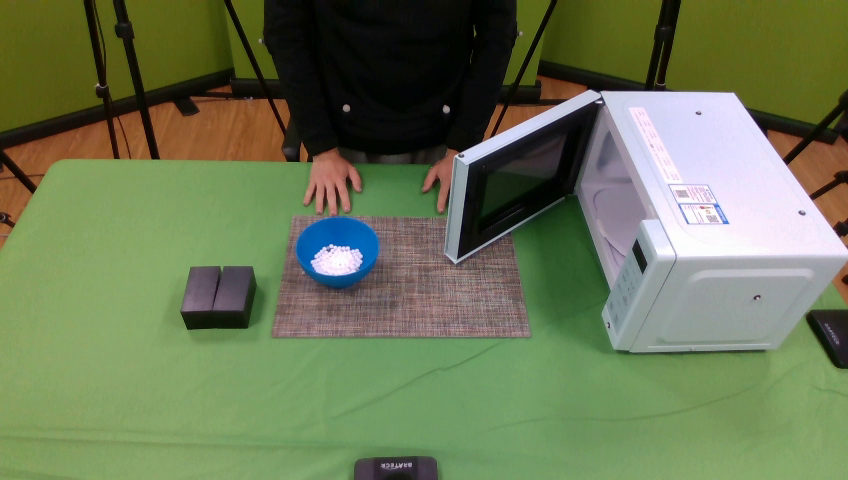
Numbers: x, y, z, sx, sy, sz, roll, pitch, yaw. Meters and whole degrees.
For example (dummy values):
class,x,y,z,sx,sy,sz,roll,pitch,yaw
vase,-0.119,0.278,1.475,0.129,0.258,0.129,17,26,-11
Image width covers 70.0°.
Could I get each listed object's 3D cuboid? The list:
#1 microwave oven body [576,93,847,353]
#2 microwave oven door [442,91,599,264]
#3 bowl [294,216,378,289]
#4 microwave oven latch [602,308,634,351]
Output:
class,x,y,z,sx,sy,sz,roll,pitch,yaw
microwave oven body,0.475,-0.041,1.109,0.326,0.261,0.438,-1,45,-4
microwave oven door,0.187,-0.123,1.160,0.356,0.245,0.039,-29,55,-28
bowl,-0.158,0.036,1.110,0.151,0.077,0.150,3,45,-2
microwave oven latch,0.332,0.153,1.043,0.030,0.029,0.078,-1,45,-4
